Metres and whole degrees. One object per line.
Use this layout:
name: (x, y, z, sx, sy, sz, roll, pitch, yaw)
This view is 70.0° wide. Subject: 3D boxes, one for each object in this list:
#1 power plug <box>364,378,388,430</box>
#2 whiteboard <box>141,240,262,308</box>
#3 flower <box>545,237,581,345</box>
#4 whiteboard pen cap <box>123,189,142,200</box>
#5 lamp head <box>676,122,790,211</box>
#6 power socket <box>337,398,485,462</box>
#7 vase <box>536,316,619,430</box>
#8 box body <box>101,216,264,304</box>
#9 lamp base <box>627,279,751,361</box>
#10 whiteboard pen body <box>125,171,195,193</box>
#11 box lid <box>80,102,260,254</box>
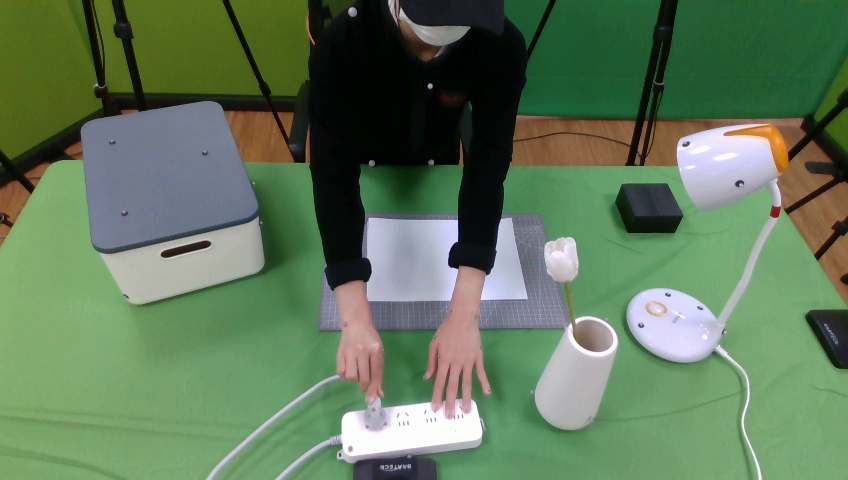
power plug: (-0.070, 0.252, 0.912, 0.035, 0.053, 0.072, 5, 40, 1)
whiteboard: (-0.464, -0.059, 1.137, 0.217, 0.144, 0.303, -19, 51, -17)
flower: (0.213, 0.137, 0.846, 0.038, 0.364, 0.044, 20, 54, 39)
whiteboard pen cap: (-0.591, -0.093, 1.231, 0.033, 0.018, 0.018, -14, 49, -17)
lamp head: (0.423, -0.104, 0.819, 0.122, 0.113, 0.112, -13, 33, 40)
power socket: (-0.018, 0.286, 0.914, 0.227, 0.033, 0.071, -4, 46, -8)
vase: (0.229, 0.200, 0.901, 0.098, 0.201, 0.097, 3, 46, -3)
box body: (-0.465, -0.076, 1.137, 0.254, 0.161, 0.361, -16, 50, -19)
lamp base: (0.460, 0.100, 1.027, 0.178, 0.181, 0.160, 27, 51, 17)
whiteboard pen body: (-0.553, -0.119, 1.270, 0.141, 0.017, 0.017, -18, 50, -15)
box lid: (-0.461, -0.127, 1.082, 0.264, 0.015, 0.369, -15, 49, -19)
